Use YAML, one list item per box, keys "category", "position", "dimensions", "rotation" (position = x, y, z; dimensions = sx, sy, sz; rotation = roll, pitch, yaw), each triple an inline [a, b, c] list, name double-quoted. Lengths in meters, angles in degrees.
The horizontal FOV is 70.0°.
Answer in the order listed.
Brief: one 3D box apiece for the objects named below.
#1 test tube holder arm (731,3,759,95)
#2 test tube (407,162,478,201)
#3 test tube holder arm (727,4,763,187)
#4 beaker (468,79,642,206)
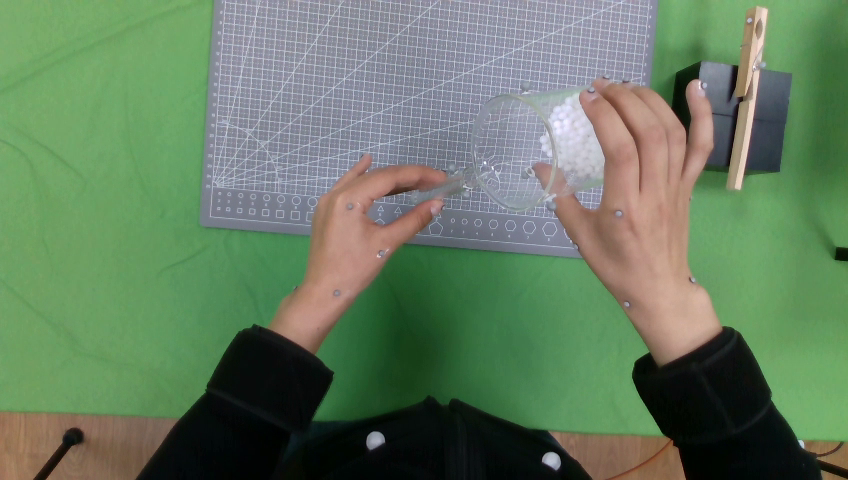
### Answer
- category: "test tube holder arm"
  position: [0.317, -0.188, 0.599]
  dimensions: [0.010, 0.015, 0.088]
  rotation: [4, 94, -13]
- category: "test tube"
  position: [0.011, -0.045, 0.487]
  dimensions: [0.017, 0.150, 0.017]
  rotation: [0, 88, -16]
- category: "test tube holder arm"
  position: [0.319, -0.143, 0.604]
  dimensions: [0.013, 0.015, 0.178]
  rotation: [3, 94, -13]
- category: "beaker"
  position: [0.089, -0.068, 0.408]
  dimensions: [0.100, 0.084, 0.074]
  rotation: [-17, 85, -34]
